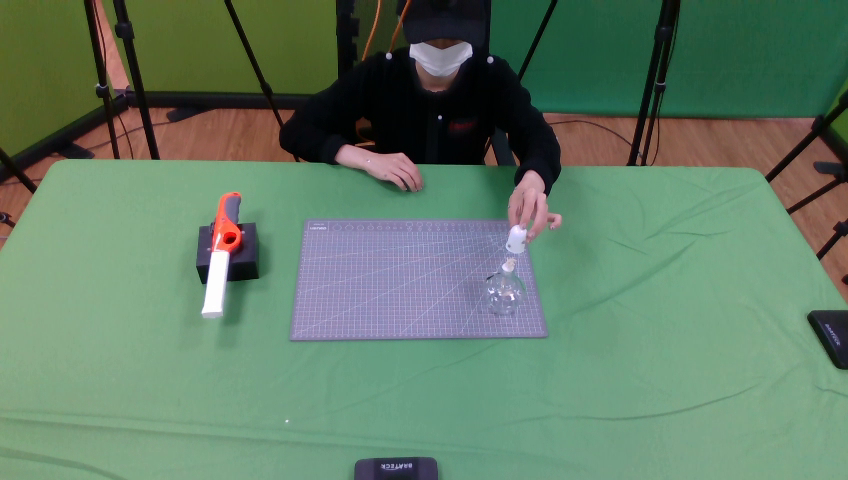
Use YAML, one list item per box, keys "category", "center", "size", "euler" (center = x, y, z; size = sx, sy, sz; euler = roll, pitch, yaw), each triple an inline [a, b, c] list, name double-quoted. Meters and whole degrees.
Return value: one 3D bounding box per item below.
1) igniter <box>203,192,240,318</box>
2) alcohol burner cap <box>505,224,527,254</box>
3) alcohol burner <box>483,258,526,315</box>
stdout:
- category: "igniter"
  center: [-0.361, 0.017, 1.084]
  size: [0.057, 0.025, 0.274]
  euler: [-3, 51, -6]
- category: "alcohol burner cap"
  center: [0.154, -0.005, 0.999]
  size: [0.034, 0.048, 0.033]
  euler: [5, 39, -4]
- category: "alcohol burner"
  center: [0.143, 0.076, 1.067]
  size: [0.078, 0.120, 0.077]
  euler: [1, 45, -1]
